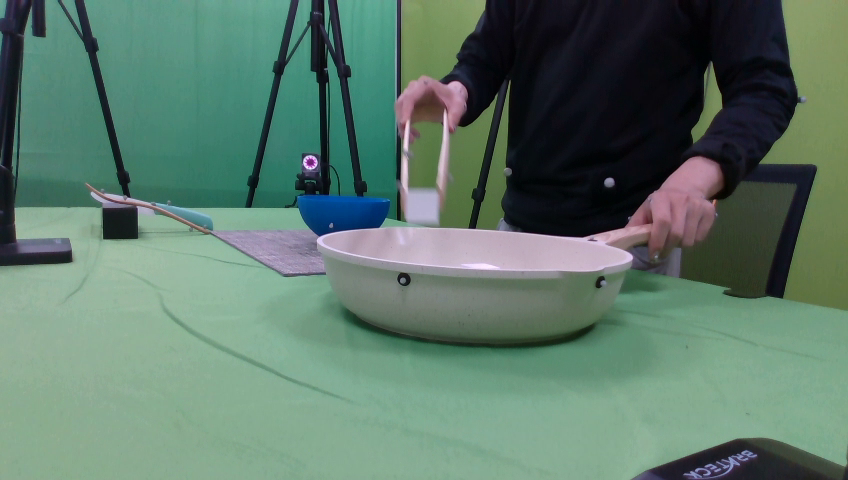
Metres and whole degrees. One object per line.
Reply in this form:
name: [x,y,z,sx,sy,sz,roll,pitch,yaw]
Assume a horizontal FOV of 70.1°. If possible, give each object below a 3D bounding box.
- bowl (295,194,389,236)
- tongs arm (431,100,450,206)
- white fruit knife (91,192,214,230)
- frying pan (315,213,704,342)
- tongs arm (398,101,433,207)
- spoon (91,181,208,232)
bowl: [-0.132,-0.032,0.980,0.151,0.077,0.151,2,7,0]
tongs arm: [0.017,-0.123,0.757,0.028,0.028,0.387,-6,24,6]
white fruit knife: [-0.477,-0.055,1.077,0.208,0.027,0.016,15,-5,-30]
frying pan: [0.133,0.014,0.629,0.490,0.102,0.305,-11,14,-29]
tongs arm: [-0.005,-0.122,0.758,0.051,0.026,0.384,-4,24,0]
spoon: [-0.461,-0.053,1.023,0.195,0.021,0.041,22,25,-24]
